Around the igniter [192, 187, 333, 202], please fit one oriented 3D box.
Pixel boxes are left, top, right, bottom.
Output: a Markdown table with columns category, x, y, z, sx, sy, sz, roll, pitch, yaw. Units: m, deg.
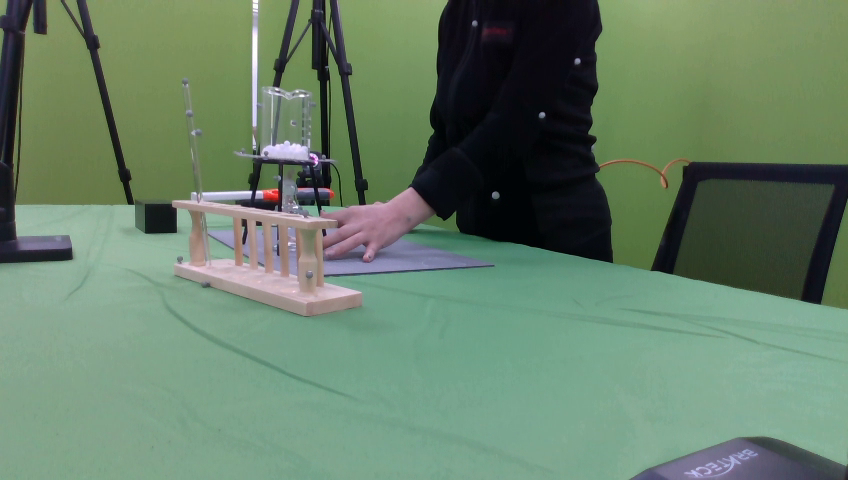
| category | x | y | z | sx | sy | sz | roll | pitch | yaw |
| --- | --- | --- | --- | --- | --- | --- | --- | --- | --- |
| igniter | -0.316 | -0.090 | 1.214 | 0.278 | 0.025 | 0.057 | -5 | 12 | -31 |

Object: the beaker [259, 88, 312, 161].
| category | x | y | z | sx | sy | sz | roll | pitch | yaw |
| --- | --- | --- | --- | --- | --- | --- | --- | --- | --- |
| beaker | -0.201 | -0.166 | 0.876 | 0.074 | 0.100 | 0.083 | 1 | 7 | -18 |

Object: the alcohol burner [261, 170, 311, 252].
| category | x | y | z | sx | sy | sz | roll | pitch | yaw |
| --- | --- | --- | --- | --- | --- | --- | --- | --- | --- |
| alcohol burner | -0.201 | -0.043 | 0.891 | 0.078 | 0.119 | 0.078 | 1 | 6 | 0 |

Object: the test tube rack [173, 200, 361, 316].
| category | x | y | z | sx | sy | sz | roll | pitch | yaw |
| --- | --- | --- | --- | --- | --- | --- | --- | --- | --- |
| test tube rack | -0.169 | 0.009 | 0.622 | 0.241 | 0.085 | 0.067 | 9 | 9 | 41 |

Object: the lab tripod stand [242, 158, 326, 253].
| category | x | y | z | sx | sy | sz | roll | pitch | yaw |
| --- | --- | --- | --- | --- | --- | --- | --- | --- | --- |
| lab tripod stand | -0.207 | -0.054 | 0.895 | 0.148 | 0.131 | 0.148 | 3 | 5 | 0 |

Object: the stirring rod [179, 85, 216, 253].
| category | x | y | z | sx | sy | sz | roll | pitch | yaw |
| --- | --- | --- | --- | --- | --- | --- | --- | --- | --- |
| stirring rod | -0.237 | -0.073 | 0.634 | 0.006 | 0.176 | 0.014 | 1 | 10 | 44 |

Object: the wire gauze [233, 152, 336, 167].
| category | x | y | z | sx | sy | sz | roll | pitch | yaw |
| --- | --- | --- | --- | --- | --- | --- | --- | --- | --- |
| wire gauze | -0.205 | -0.118 | 0.887 | 0.122 | 0.011 | 0.124 | 2 | 4 | -32 |

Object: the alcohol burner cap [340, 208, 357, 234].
| category | x | y | z | sx | sy | sz | roll | pitch | yaw |
| --- | --- | --- | --- | --- | --- | --- | --- | --- | --- |
| alcohol burner cap | -0.142 | -0.035 | 1.136 | 0.034 | 0.048 | 0.034 | 1 | 6 | 0 |
